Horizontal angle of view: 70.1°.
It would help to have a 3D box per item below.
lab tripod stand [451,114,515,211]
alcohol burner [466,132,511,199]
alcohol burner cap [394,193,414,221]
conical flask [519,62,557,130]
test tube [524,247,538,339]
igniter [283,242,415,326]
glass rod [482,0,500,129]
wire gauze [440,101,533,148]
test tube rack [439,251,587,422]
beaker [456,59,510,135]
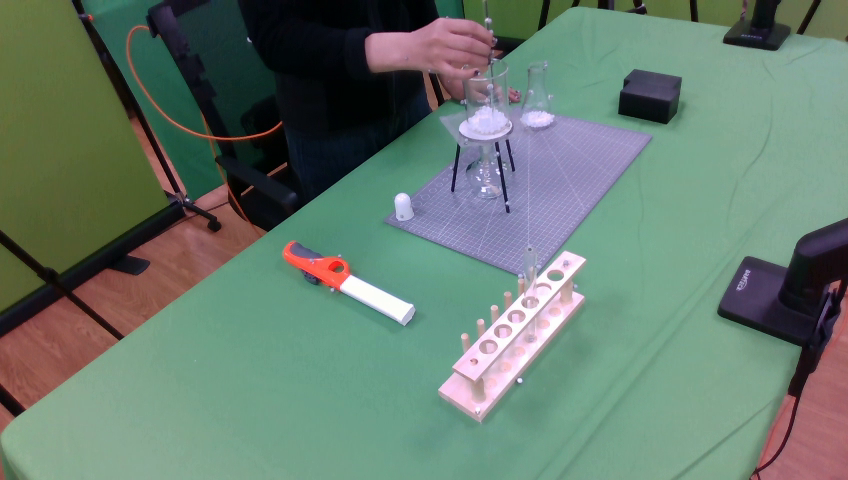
[{"bbox_3d":[0.113,-0.140,1.037,0.148,0.132,0.147,-6,38,5],"label":"lab tripod stand"},{"bbox_3d":[0.110,-0.132,1.044,0.078,0.119,0.077,-6,38,5],"label":"alcohol burner"},{"bbox_3d":[-0.036,-0.059,1.040,0.034,0.048,0.033,-5,41,5],"label":"alcohol burner cap"},{"bbox_3d":[0.225,-0.287,1.199,0.075,0.122,0.075,-6,40,5],"label":"conical flask"},{"bbox_3d":[0.133,0.070,0.749,0.017,0.151,0.017,-5,38,4],"label":"test tube"},{"bbox_3d":[-0.126,0.062,0.931,0.274,0.025,0.057,24,61,33],"label":"igniter"},{"bbox_3d":[0.103,-0.259,0.913,0.008,0.200,0.008,-8,34,6],"label":"glass rod"},{"bbox_3d":[0.100,-0.189,0.995,0.125,0.011,0.120,-16,38,-6],"label":"wire gauze"},{"bbox_3d":[0.118,0.111,0.780,0.066,0.085,0.243,26,51,35],"label":"test tube rack"},{"bbox_3d":[0.097,-0.226,0.964,0.084,0.101,0.073,-7,39,4],"label":"beaker"}]
